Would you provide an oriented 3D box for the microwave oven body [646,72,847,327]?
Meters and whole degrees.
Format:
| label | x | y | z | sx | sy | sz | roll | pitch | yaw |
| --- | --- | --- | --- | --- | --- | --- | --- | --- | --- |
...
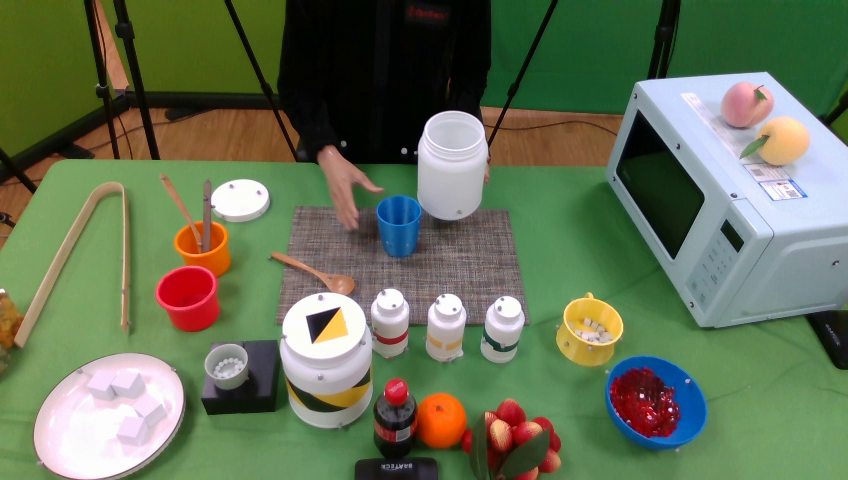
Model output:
| label | x | y | z | sx | sy | sz | roll | pitch | yaw |
| --- | --- | --- | --- | --- | --- | --- | --- | --- | --- |
| microwave oven body | 0.607 | -0.089 | 1.164 | 0.326 | 0.261 | 0.438 | -7 | 46 | -10 |

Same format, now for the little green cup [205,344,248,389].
| label | x | y | z | sx | sy | sz | roll | pitch | yaw |
| --- | --- | --- | --- | --- | --- | --- | --- | --- | --- |
| little green cup | -0.293 | 0.191 | 0.909 | 0.061 | 0.039 | 0.061 | 1 | 47 | -1 |

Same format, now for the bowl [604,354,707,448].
| label | x | y | z | sx | sy | sz | roll | pitch | yaw |
| --- | --- | --- | --- | --- | --- | --- | --- | --- | --- |
| bowl | 0.346 | 0.261 | 0.937 | 0.151 | 0.077 | 0.150 | 2 | 46 | -2 |

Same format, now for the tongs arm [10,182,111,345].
| label | x | y | z | sx | sy | sz | roll | pitch | yaw |
| --- | --- | --- | --- | --- | --- | --- | --- | --- | --- |
| tongs arm | -0.658 | 0.027 | 1.109 | 0.028 | 0.028 | 0.385 | -2 | 45 | 2 |

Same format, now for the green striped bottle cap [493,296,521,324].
| label | x | y | z | sx | sy | sz | roll | pitch | yaw |
| --- | --- | --- | --- | --- | --- | --- | --- | --- | --- |
| green striped bottle cap | 0.133 | 0.111 | 0.962 | 0.044 | 0.020 | 0.044 | 2 | 47 | -2 |

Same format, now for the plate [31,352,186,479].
| label | x | y | z | sx | sy | sz | roll | pitch | yaw |
| --- | --- | --- | --- | --- | --- | --- | --- | --- | --- |
| plate | -0.459 | 0.262 | 0.898 | 0.209 | 0.038 | 0.208 | 2 | 46 | -2 |

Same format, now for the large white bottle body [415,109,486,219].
| label | x | y | z | sx | sy | sz | roll | pitch | yaw |
| --- | --- | --- | --- | --- | --- | --- | --- | --- | --- |
| large white bottle body | 0.048 | -0.143 | 1.155 | 0.130 | 0.185 | 0.130 | 1 | 52 | -1 |

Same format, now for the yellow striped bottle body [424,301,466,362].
| label | x | y | z | sx | sy | sz | roll | pitch | yaw |
| --- | --- | --- | --- | --- | --- | --- | --- | --- | --- |
| yellow striped bottle body | 0.035 | 0.143 | 0.995 | 0.063 | 0.121 | 0.062 | 3 | 46 | -3 |

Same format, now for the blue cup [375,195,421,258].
| label | x | y | z | sx | sy | sz | roll | pitch | yaw |
| --- | --- | --- | --- | --- | --- | --- | --- | --- | --- |
| blue cup | -0.050 | -0.019 | 1.155 | 0.093 | 0.101 | 0.092 | 2 | 46 | -2 |

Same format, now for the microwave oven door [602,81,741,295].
| label | x | y | z | sx | sy | sz | roll | pitch | yaw |
| --- | --- | --- | --- | --- | --- | --- | --- | --- | --- |
| microwave oven door | 0.456 | -0.107 | 1.162 | 0.039 | 0.245 | 0.353 | -7 | 47 | -11 |

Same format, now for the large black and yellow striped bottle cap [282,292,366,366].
| label | x | y | z | sx | sy | sz | roll | pitch | yaw |
| --- | --- | --- | --- | --- | --- | --- | --- | --- | --- |
| large black and yellow striped bottle cap | -0.138 | 0.121 | 0.841 | 0.115 | 0.019 | 0.114 | 3 | 47 | -3 |

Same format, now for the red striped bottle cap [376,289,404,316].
| label | x | y | z | sx | sy | sz | roll | pitch | yaw |
| --- | --- | --- | --- | --- | --- | --- | --- | --- | --- |
| red striped bottle cap | -0.055 | 0.098 | 0.958 | 0.044 | 0.018 | 0.044 | -1 | 48 | 1 |

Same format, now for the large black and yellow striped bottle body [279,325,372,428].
| label | x | y | z | sx | sy | sz | roll | pitch | yaw |
| --- | --- | --- | --- | --- | --- | --- | --- | --- | --- |
| large black and yellow striped bottle body | -0.143 | 0.181 | 0.900 | 0.131 | 0.185 | 0.130 | 2 | 46 | -2 |

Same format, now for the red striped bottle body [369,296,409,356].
| label | x | y | z | sx | sy | sz | roll | pitch | yaw |
| --- | --- | --- | --- | --- | --- | --- | --- | --- | --- |
| red striped bottle body | -0.059 | 0.134 | 0.997 | 0.063 | 0.120 | 0.062 | 5 | 48 | -5 |

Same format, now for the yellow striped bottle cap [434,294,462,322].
| label | x | y | z | sx | sy | sz | roll | pitch | yaw |
| --- | --- | --- | --- | --- | --- | --- | --- | --- | --- |
| yellow striped bottle cap | 0.038 | 0.107 | 0.958 | 0.044 | 0.019 | 0.044 | 2 | 45 | -2 |

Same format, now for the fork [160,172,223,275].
| label | x | y | z | sx | sy | sz | roll | pitch | yaw |
| --- | --- | --- | --- | --- | --- | --- | --- | --- | --- |
| fork | -0.425 | -0.030 | 1.103 | 0.028 | 0.018 | 0.207 | -28 | 98 | -12 |

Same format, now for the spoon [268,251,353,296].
| label | x | y | z | sx | sy | sz | roll | pitch | yaw |
| --- | --- | --- | --- | --- | --- | --- | --- | --- | --- |
| spoon | -0.212 | 0.057 | 1.121 | 0.193 | 0.022 | 0.041 | 24 | 74 | 18 |

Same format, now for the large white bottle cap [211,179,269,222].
| label | x | y | z | sx | sy | sz | roll | pitch | yaw |
| --- | --- | --- | --- | --- | --- | --- | --- | --- | --- |
| large white bottle cap | -0.380 | -0.082 | 1.250 | 0.115 | 0.018 | 0.114 | 2 | 47 | -2 |

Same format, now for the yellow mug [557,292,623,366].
| label | x | y | z | sx | sy | sz | roll | pitch | yaw |
| --- | --- | --- | --- | --- | --- | --- | --- | --- | --- |
| yellow mug | 0.285 | 0.145 | 1.051 | 0.100 | 0.064 | 0.130 | 7 | 46 | 4 |

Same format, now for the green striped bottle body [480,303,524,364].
| label | x | y | z | sx | sy | sz | roll | pitch | yaw |
| --- | --- | --- | --- | --- | --- | --- | --- | --- | --- |
| green striped bottle body | 0.129 | 0.147 | 1.000 | 0.063 | 0.120 | 0.063 | 2 | 46 | -2 |

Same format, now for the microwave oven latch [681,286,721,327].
| label | x | y | z | sx | sy | sz | roll | pitch | yaw |
| --- | --- | --- | --- | --- | --- | --- | --- | --- | --- |
| microwave oven latch | 0.494 | 0.119 | 1.086 | 0.030 | 0.029 | 0.078 | -5 | 46 | -9 |

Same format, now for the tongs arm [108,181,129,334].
| label | x | y | z | sx | sy | sz | roll | pitch | yaw |
| --- | --- | --- | --- | --- | --- | --- | --- | --- | --- |
| tongs arm | -0.571 | 0.019 | 1.123 | 0.051 | 0.026 | 0.382 | -11 | 47 | -12 |

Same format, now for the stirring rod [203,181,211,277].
| label | x | y | z | sx | sy | sz | roll | pitch | yaw |
| --- | --- | --- | --- | --- | --- | --- | --- | --- | --- |
| stirring rod | -0.396 | -0.021 | 1.107 | 0.014 | 0.006 | 0.176 | -1 | 89 | -1 |
